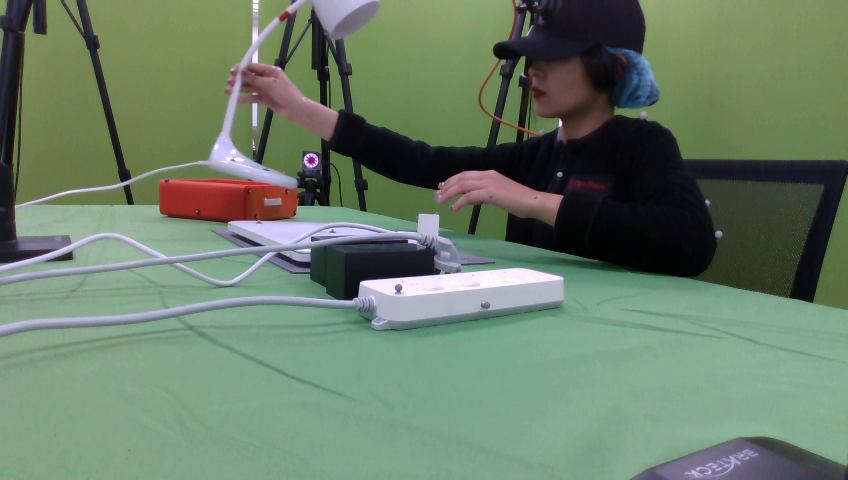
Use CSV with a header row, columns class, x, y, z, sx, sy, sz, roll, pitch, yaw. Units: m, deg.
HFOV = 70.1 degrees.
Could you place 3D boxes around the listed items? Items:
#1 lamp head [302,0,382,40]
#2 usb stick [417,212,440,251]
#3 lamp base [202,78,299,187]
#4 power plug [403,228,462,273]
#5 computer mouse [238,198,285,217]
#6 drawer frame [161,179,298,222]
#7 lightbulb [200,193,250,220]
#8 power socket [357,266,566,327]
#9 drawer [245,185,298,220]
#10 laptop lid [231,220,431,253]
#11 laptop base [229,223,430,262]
class,x,y,z,sx,sy,sz,roll,pitch,yaw
lamp head,-0.158,-0.442,1.098,0.112,0.123,0.112,-40,3,3
usb stick,0.005,-0.004,0.721,0.027,0.059,0.021,0,-3,-3
lamp base,-0.309,-0.201,1.119,0.179,0.180,0.160,10,3,-9
power plug,0.006,0.016,0.647,0.073,0.052,0.035,17,12,-6
computer mouse,-0.354,-0.072,1.326,0.063,0.041,0.117,3,3,11
drawer frame,-0.420,-0.089,1.328,0.213,0.082,0.202,4,8,18
lightbulb,-0.433,-0.079,1.319,0.108,0.059,0.059,-17,13,-16
power socket,0.042,0.049,0.573,0.228,0.032,0.072,-3,8,-34
drawer,-0.416,-0.087,1.329,0.211,0.073,0.195,3,8,18
laptop lid,-0.142,-0.009,0.942,0.243,0.013,0.355,1,7,-31
laptop base,-0.145,0.002,0.943,0.237,0.023,0.352,2,6,-32
